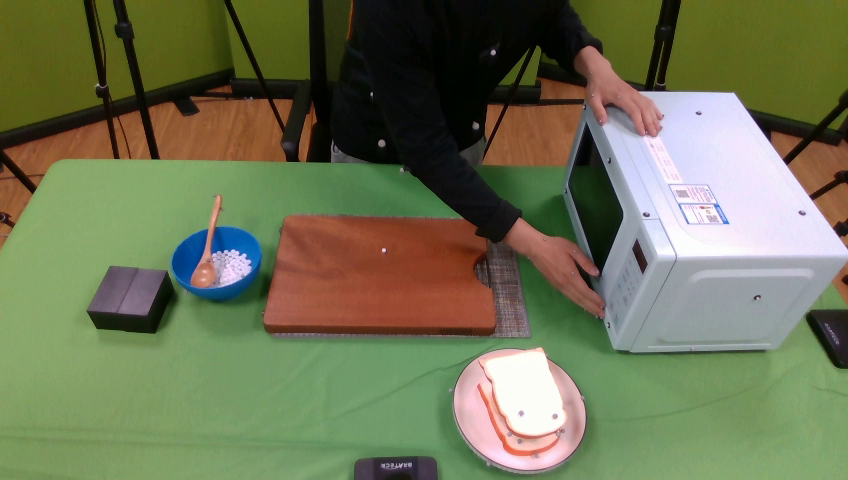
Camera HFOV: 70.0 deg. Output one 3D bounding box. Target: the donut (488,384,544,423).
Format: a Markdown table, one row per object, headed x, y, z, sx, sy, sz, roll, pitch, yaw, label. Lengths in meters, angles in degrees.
| x | y | z | sx | sy | sz | roll | pitch | yaw | label |
| --- | --- | --- | --- | --- | --- | --- | --- | --- | --- |
| 0.147 | 0.242 | 0.928 | 0.099 | 0.048 | 0.098 | -3 | 41 | 3 | donut |

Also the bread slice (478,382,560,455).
| x | y | z | sx | sy | sz | roll | pitch | yaw | label |
| --- | --- | --- | --- | --- | --- | --- | --- | --- | --- |
| 0.154 | 0.268 | 0.944 | 0.105 | 0.019 | 0.130 | -10 | 47 | -12 | bread slice |

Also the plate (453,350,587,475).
| x | y | z | sx | sy | sz | roll | pitch | yaw | label |
| --- | --- | --- | --- | --- | --- | --- | --- | --- | --- |
| 0.147 | 0.267 | 0.943 | 0.208 | 0.039 | 0.206 | 2 | 46 | -2 | plate |

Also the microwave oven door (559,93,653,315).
| x | y | z | sx | sy | sz | roll | pitch | yaw | label |
| --- | --- | --- | --- | --- | --- | --- | --- | --- | --- |
| 0.327 | -0.074 | 1.123 | 0.039 | 0.245 | 0.353 | -1 | 46 | -5 | microwave oven door |

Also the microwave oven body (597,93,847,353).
| x | y | z | sx | sy | sz | roll | pitch | yaw | label |
| --- | --- | --- | --- | --- | --- | --- | --- | --- | --- |
| 0.475 | -0.041 | 1.109 | 0.326 | 0.261 | 0.438 | -1 | 45 | -4 | microwave oven body |

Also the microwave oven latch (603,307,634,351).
| x | y | z | sx | sy | sz | roll | pitch | yaw | label |
| --- | --- | --- | --- | --- | --- | --- | --- | --- | --- |
| 0.332 | 0.153 | 1.044 | 0.030 | 0.029 | 0.078 | 0 | 45 | -3 | microwave oven latch |

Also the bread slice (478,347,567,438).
| x | y | z | sx | sy | sz | roll | pitch | yaw | label |
| --- | --- | --- | --- | --- | --- | --- | --- | --- | --- |
| 0.152 | 0.226 | 0.901 | 0.107 | 0.018 | 0.133 | -11 | 54 | -16 | bread slice |

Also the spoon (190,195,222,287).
| x | y | z | sx | sy | sz | roll | pitch | yaw | label |
| --- | --- | --- | --- | --- | --- | --- | --- | --- | --- |
| -0.383 | 0.000 | 1.088 | 0.041 | 0.022 | 0.193 | 1 | 66 | 3 | spoon |

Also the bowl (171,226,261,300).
| x | y | z | sx | sy | sz | roll | pitch | yaw | label |
| --- | --- | --- | --- | --- | --- | --- | --- | --- | --- |
| -0.364 | 0.054 | 1.081 | 0.151 | 0.077 | 0.150 | 3 | 45 | -2 | bowl |
